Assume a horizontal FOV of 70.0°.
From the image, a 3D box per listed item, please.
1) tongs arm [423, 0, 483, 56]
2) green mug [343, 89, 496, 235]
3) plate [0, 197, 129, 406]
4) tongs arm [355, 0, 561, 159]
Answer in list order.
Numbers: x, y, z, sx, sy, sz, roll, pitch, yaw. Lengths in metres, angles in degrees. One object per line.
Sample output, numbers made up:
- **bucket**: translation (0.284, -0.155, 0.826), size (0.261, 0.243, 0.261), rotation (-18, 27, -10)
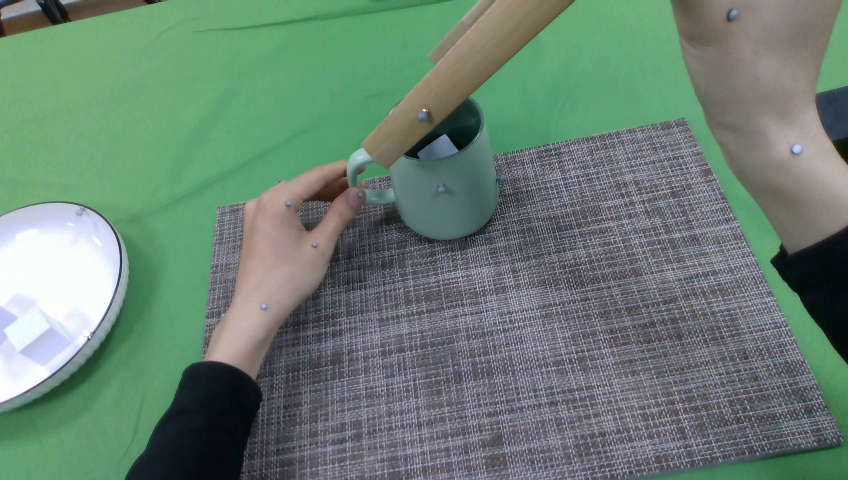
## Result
- **tongs arm**: translation (0.094, -0.170, 0.284), size (0.026, 0.384, 0.050), rotation (42, 58, -13)
- **green mug**: translation (-0.004, -0.061, 0.504), size (0.125, 0.106, 0.091), rotation (-11, 56, 2)
- **plate**: translation (-0.359, 0.054, 0.536), size (0.209, 0.038, 0.207), rotation (-4, 57, 7)
- **tongs arm**: translation (0.068, -0.128, 0.255), size (0.028, 0.387, 0.028), rotation (45, 51, -11)
